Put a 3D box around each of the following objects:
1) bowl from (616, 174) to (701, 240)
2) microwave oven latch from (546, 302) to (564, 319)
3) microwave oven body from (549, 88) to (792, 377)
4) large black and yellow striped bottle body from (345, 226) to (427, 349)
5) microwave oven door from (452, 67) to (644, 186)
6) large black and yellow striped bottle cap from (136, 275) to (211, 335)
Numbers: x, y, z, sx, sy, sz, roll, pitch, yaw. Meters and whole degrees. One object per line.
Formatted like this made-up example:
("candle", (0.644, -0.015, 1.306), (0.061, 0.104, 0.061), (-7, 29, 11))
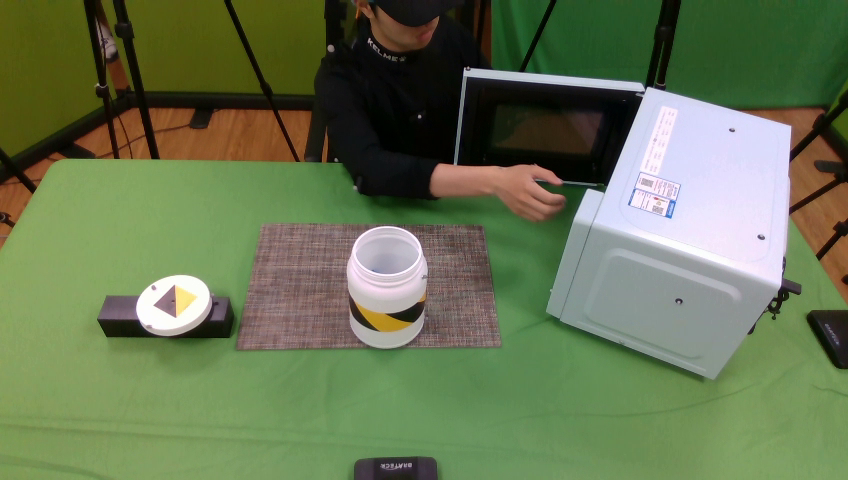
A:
("bowl", (0.435, -0.053, 1.142), (0.151, 0.077, 0.150), (-4, 37, 3))
("microwave oven latch", (0.242, 0.102, 1.081), (0.030, 0.029, 0.079), (21, 48, 17))
("microwave oven body", (0.456, -0.028, 1.088), (0.325, 0.261, 0.440), (20, 47, 16))
("large black and yellow striped bottle body", (-0.062, 0.078, 0.998), (0.131, 0.185, 0.130), (2, 46, -2))
("microwave oven door", (0.246, -0.230, 1.260), (0.356, 0.245, 0.039), (5, 46, 1))
("large black and yellow striped bottle cap", (-0.412, 0.105, 0.998), (0.115, 0.019, 0.114), (3, 47, -3))
